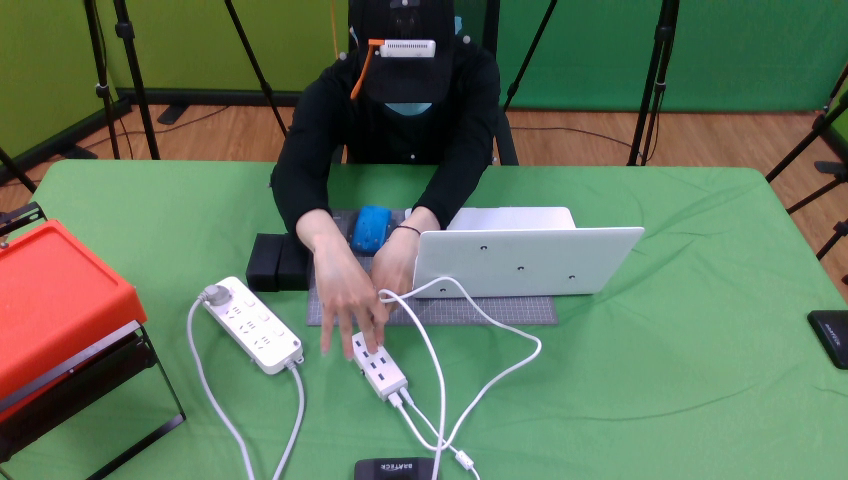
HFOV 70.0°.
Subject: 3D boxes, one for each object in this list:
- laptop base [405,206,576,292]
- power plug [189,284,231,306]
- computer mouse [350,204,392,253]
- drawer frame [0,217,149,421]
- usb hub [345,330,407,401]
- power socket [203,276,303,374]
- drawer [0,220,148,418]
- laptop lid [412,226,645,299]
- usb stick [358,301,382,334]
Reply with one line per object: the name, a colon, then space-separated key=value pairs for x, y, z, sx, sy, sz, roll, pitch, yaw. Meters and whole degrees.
laptop base: x=0.143 y=0.018 z=1.196 sx=0.355 sy=0.023 sz=0.234 roll=-1 pitch=43 yaw=-6
power plug: x=-0.368 y=0.100 z=1.037 sx=0.072 sy=0.053 sz=0.035 roll=-24 pitch=54 yaw=-26
computer mouse: x=-0.104 y=-0.027 z=1.202 sx=0.063 sy=0.041 sz=0.116 roll=11 pitch=51 yaw=3
drawer frame: x=-0.510 y=0.093 z=0.780 sx=0.201 sy=0.083 sz=0.213 roll=31 pitch=52 yaw=23
usb hub: x=-0.080 y=0.203 z=0.997 sx=0.049 sy=0.025 sz=0.124 roll=-24 pitch=53 yaw=-25
power socket: x=-0.296 y=0.141 z=1.034 sx=0.072 sy=0.033 sz=0.225 roll=-34 pitch=58 yaw=-30
drawer: x=-0.509 y=0.093 z=0.783 sx=0.193 sy=0.073 sz=0.211 roll=32 pitch=53 yaw=24
laptop lid: x=0.161 y=0.042 z=1.012 sx=0.357 sy=0.242 sz=0.013 roll=0 pitch=59 yaw=-7
usb stick: x=-0.087 y=0.128 z=0.962 sx=0.021 sy=0.059 sz=0.027 roll=35 pitch=36 yaw=27
